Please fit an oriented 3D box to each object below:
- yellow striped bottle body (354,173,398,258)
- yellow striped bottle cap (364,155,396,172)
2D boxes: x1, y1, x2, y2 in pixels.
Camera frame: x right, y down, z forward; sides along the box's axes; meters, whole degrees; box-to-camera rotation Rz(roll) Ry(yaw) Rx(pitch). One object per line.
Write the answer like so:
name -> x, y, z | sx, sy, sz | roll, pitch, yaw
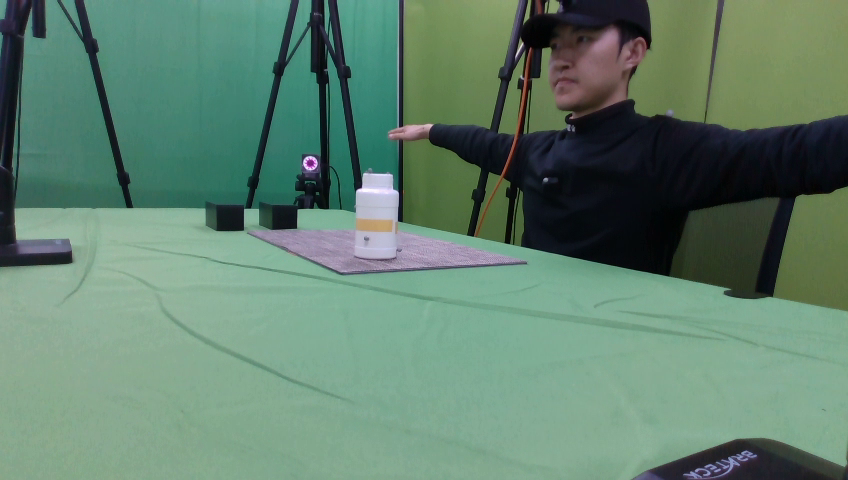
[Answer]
yellow striped bottle body -> -0.069, -0.037, 0.873 | 0.063, 0.120, 0.063 | 2, 7, 0
yellow striped bottle cap -> -0.063, -0.109, 0.859 | 0.044, 0.018, 0.044 | 10, 6, -1
